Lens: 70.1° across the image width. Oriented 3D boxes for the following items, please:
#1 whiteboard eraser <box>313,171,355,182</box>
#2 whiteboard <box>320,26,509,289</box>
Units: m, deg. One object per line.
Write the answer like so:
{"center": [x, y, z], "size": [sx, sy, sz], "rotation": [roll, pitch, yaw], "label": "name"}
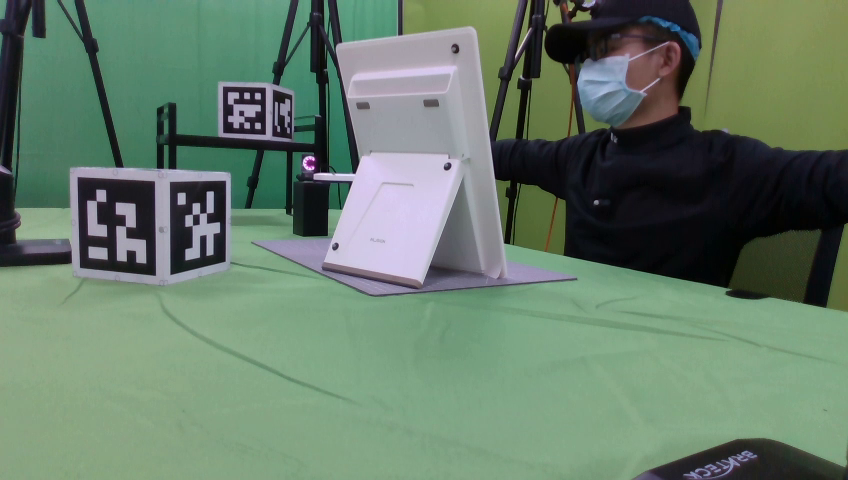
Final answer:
{"center": [-0.166, -0.122, 1.165], "size": [0.102, 0.019, 0.041], "rotation": [-2, 7, -34], "label": "whiteboard eraser"}
{"center": [-0.045, -0.076, 0.721], "size": [0.216, 0.305, 0.144], "rotation": [9, 29, 39], "label": "whiteboard"}
